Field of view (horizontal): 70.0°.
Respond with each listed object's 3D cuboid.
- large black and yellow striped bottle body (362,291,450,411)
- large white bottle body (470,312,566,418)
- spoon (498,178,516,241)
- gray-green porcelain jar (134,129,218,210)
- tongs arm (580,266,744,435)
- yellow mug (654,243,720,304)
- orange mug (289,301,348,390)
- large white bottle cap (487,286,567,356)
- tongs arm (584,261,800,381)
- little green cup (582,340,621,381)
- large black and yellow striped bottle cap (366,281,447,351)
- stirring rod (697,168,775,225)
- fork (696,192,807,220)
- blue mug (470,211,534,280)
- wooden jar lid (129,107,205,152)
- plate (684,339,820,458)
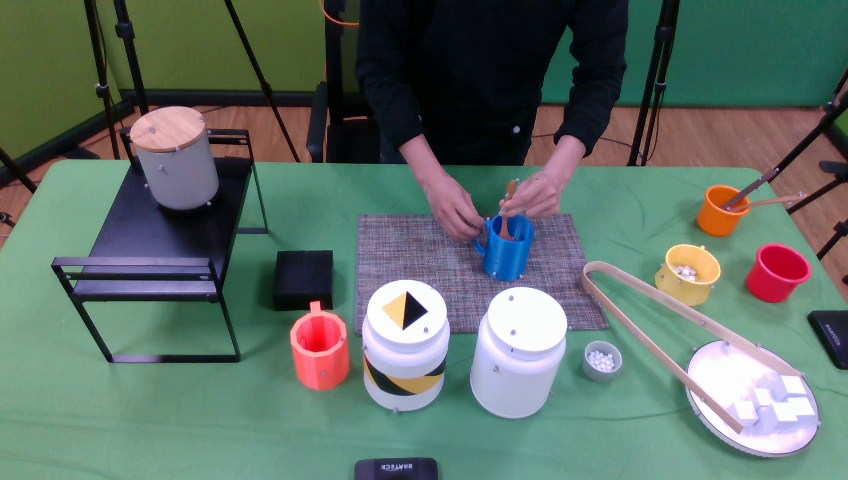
[{"bbox_3d":[-0.029,0.163,0.928,0.131,0.185,0.130,2,47,-2],"label":"large black and yellow striped bottle body"},{"bbox_3d":[0.143,0.173,0.930,0.131,0.185,0.130,2,46,-2],"label":"large white bottle body"},{"bbox_3d":[0.143,-0.037,1.068,0.041,0.195,0.021,-8,46,-7],"label":"spoon"},{"bbox_3d":[-0.388,-0.120,0.960,0.106,0.127,0.105,2,46,-2],"label":"gray-green porcelain jar"},{"bbox_3d":[0.384,0.173,1.028,0.028,0.028,0.385,-25,46,-15],"label":"tongs arm"},{"bbox_3d":[0.504,0.054,1.154,0.099,0.064,0.130,28,50,22],"label":"yellow mug"},{"bbox_3d":[-0.170,0.162,0.976,0.083,0.101,0.125,-7,52,-12],"label":"orange mug"},{"bbox_3d":[0.147,0.114,0.869,0.115,0.018,0.114,3,46,-3],"label":"large white bottle cap"},{"bbox_3d":[0.452,0.137,1.064,0.051,0.027,0.382,-34,50,-27],"label":"tongs arm"},{"bbox_3d":[0.295,0.204,1.015,0.061,0.039,0.061,2,45,-2],"label":"little green cup"},{"bbox_3d":[-0.025,0.106,0.866,0.115,0.019,0.114,2,46,-1],"label":"large black and yellow striped bottle cap"},{"bbox_3d":[0.644,-0.090,1.252,0.176,0.006,0.014,-40,53,16],"label":"stirring rod"},{"bbox_3d":[0.655,-0.069,1.224,0.207,0.019,0.028,-17,33,45],"label":"fork"},{"bbox_3d":[0.141,0.005,1.140,0.116,0.106,0.082,20,49,15],"label":"blue mug"},{"bbox_3d":[-0.385,-0.163,0.915,0.108,0.021,0.107,2,47,-2],"label":"wooden jar lid"},{"bbox_3d":[0.523,0.256,0.982,0.208,0.039,0.206,2,46,-2],"label":"plate"}]
